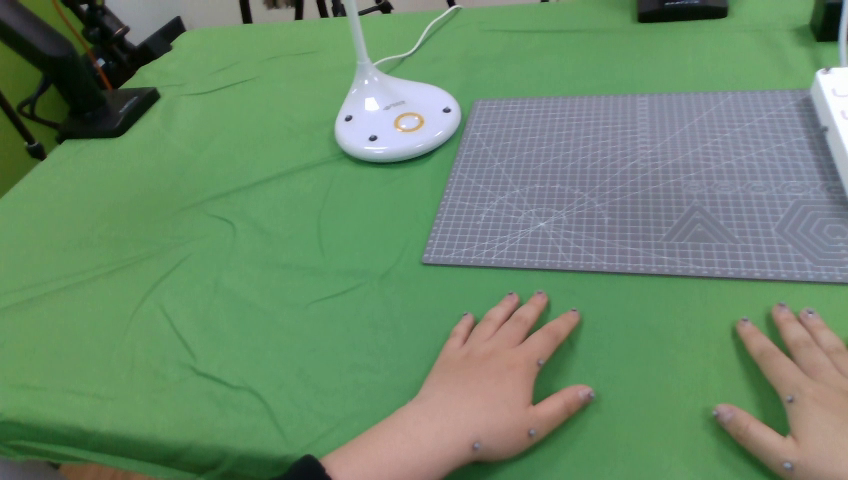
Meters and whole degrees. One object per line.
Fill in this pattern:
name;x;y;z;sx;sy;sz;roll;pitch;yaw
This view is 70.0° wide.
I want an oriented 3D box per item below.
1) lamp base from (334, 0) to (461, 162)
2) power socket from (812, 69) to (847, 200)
lamp base;-0.054;-0.209;0.712;0.160;0.182;0.177;-32;43;-21
power socket;0.431;-0.102;0.581;0.072;0.033;0.225;4;44;17
